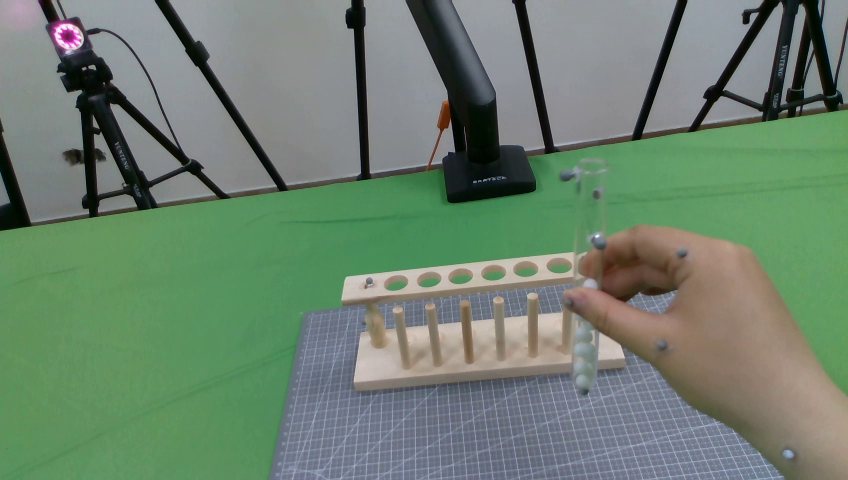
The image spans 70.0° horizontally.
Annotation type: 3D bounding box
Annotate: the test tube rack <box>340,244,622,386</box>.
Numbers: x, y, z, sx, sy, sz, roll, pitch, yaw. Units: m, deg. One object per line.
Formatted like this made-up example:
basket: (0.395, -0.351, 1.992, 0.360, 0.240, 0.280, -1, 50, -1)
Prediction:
test tube rack: (0.051, 0.069, 0.548, 0.242, 0.086, 0.066, -6, 36, 5)

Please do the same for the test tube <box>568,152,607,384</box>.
test tube: (0.087, 0.023, 0.326, 0.017, 0.151, 0.017, -5, 34, 4)
